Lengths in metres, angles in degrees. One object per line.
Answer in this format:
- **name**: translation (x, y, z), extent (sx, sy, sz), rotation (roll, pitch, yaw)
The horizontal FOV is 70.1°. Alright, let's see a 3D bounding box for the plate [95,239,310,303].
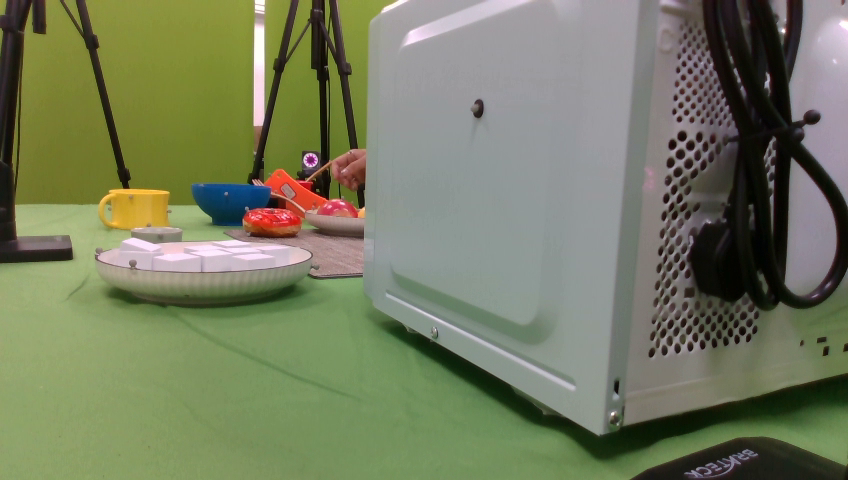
- **plate**: translation (-0.224, 0.031, 0.629), extent (0.208, 0.039, 0.207), rotation (2, 8, 0)

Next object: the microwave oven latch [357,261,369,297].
- **microwave oven latch**: translation (-0.019, 0.033, 0.530), extent (0.079, 0.029, 0.030), rotation (-1, 7, -26)

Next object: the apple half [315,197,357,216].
- **apple half**: translation (-0.162, -0.052, 1.121), extent (0.081, 0.053, 0.074), rotation (4, 7, -14)

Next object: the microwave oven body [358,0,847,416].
- **microwave oven body**: translation (0.211, -0.047, 0.474), extent (0.444, 0.260, 0.324), rotation (-1, 7, -28)

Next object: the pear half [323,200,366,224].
- **pear half**: translation (-0.155, -0.059, 1.197), extent (0.088, 0.031, 0.070), rotation (14, 34, -4)

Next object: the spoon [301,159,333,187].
- **spoon**: translation (-0.316, -0.158, 1.639), extent (0.194, 0.022, 0.041), rotation (-49, 32, -20)

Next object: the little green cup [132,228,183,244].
- **little green cup**: translation (-0.342, 0.006, 0.779), extent (0.061, 0.038, 0.061), rotation (2, 8, 0)

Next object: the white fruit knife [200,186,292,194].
- **white fruit knife**: translation (-0.399, -0.111, 1.368), extent (0.208, 0.016, 0.027), rotation (-4, -19, -30)

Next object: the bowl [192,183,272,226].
- **bowl**: translation (-0.381, -0.070, 1.202), extent (0.151, 0.077, 0.151), rotation (3, 7, 0)

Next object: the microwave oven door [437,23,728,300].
- **microwave oven door**: translation (0.180, -0.072, 0.621), extent (0.358, 0.243, 0.039), rotation (-2, 9, -29)

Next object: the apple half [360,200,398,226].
- **apple half**: translation (-0.087, -0.059, 1.190), extent (0.081, 0.033, 0.081), rotation (9, 31, -5)

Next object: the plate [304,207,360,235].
- **plate**: translation (-0.123, -0.037, 1.149), extent (0.209, 0.038, 0.209), rotation (2, 7, 0)

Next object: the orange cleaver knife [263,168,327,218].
- **orange cleaver knife**: translation (-0.263, -0.087, 1.353), extent (0.211, 0.077, 0.012), rotation (28, 13, -1)

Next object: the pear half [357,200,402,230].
- **pear half**: translation (-0.075, -0.047, 1.133), extent (0.076, 0.056, 0.110), rotation (13, 7, 31)

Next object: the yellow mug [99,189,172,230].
- **yellow mug**: translation (-0.518, -0.055, 1.080), extent (0.099, 0.064, 0.131), rotation (6, 9, 26)

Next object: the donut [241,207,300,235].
- **donut**: translation (-0.263, -0.031, 1.039), extent (0.099, 0.048, 0.099), rotation (4, 10, 0)

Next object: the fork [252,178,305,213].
- **fork**: translation (-0.295, -0.084, 1.292), extent (0.206, 0.018, 0.028), rotation (29, 11, 25)
